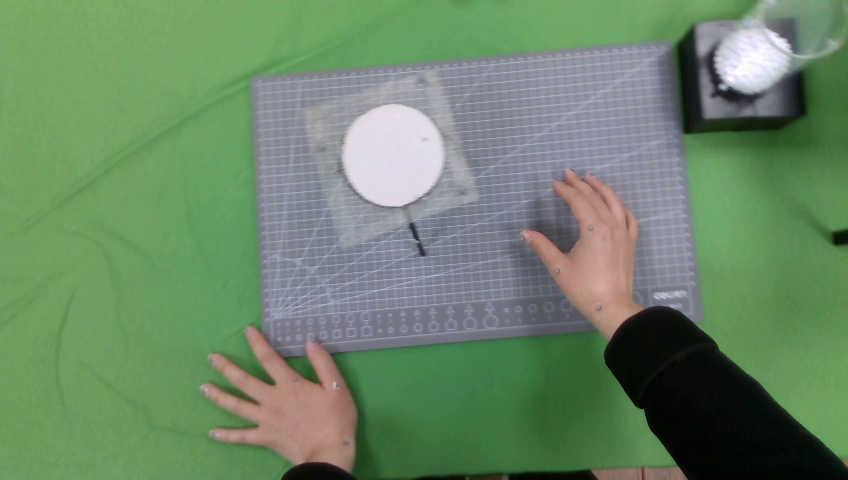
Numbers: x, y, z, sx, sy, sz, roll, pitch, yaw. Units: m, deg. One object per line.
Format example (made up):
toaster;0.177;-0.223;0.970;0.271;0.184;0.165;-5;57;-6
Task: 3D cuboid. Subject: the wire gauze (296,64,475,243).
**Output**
wire gauze;-0.032;-0.074;0.505;0.121;0.011;0.125;-18;86;-1

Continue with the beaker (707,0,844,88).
beaker;0.308;-0.188;0.544;0.074;0.100;0.084;6;84;3

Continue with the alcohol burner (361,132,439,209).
alcohol burner;-0.025;-0.071;0.582;0.078;0.119;0.077;0;82;3

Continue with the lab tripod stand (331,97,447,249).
lab tripod stand;-0.026;-0.067;0.571;0.148;0.131;0.148;0;85;0
